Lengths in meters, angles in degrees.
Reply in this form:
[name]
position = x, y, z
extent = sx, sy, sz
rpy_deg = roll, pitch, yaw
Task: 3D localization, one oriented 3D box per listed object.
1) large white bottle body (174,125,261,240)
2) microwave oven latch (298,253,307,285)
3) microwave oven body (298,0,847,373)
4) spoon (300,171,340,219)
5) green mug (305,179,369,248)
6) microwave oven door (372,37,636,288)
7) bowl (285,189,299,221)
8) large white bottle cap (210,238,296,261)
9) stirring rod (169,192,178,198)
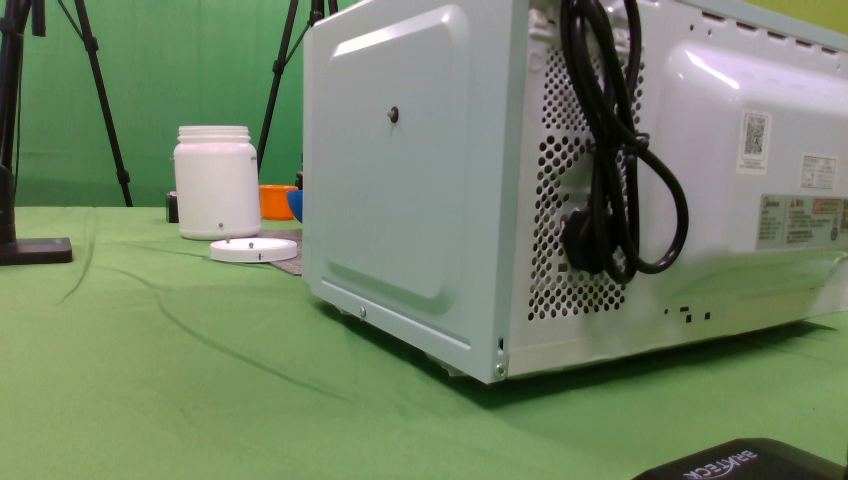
[large white bottle body]
position = -0.349, -0.100, 1.025
extent = 0.131, 0.184, 0.130
rpy_deg = -1, 9, 0
[microwave oven latch]
position = -0.081, 0.027, 0.582
extent = 0.079, 0.029, 0.030
rpy_deg = -1, 7, -32
[microwave oven body]
position = 0.151, -0.055, 0.542
extent = 0.444, 0.260, 0.324
rpy_deg = -2, 7, -33
[spoon]
position = -0.205, -0.089, 1.159
extent = 0.042, 0.021, 0.193
rpy_deg = -3, 36, -28
[green mug]
position = -0.133, -0.044, 0.977
extent = 0.092, 0.105, 0.126
rpy_deg = 6, 8, 32
[microwave oven door]
position = 0.109, -0.080, 0.686
extent = 0.358, 0.243, 0.039
rpy_deg = -2, 9, -33
[bowl]
position = -0.180, -0.050, 1.113
extent = 0.151, 0.077, 0.151
rpy_deg = 3, 8, 0
[large white bottle cap]
position = -0.236, 0.012, 0.839
extent = 0.115, 0.018, 0.115
rpy_deg = 1, 7, 0
[stirring rod]
position = -0.465, -0.098, 1.283
extent = 0.014, 0.006, 0.177
rpy_deg = 42, 21, 17
